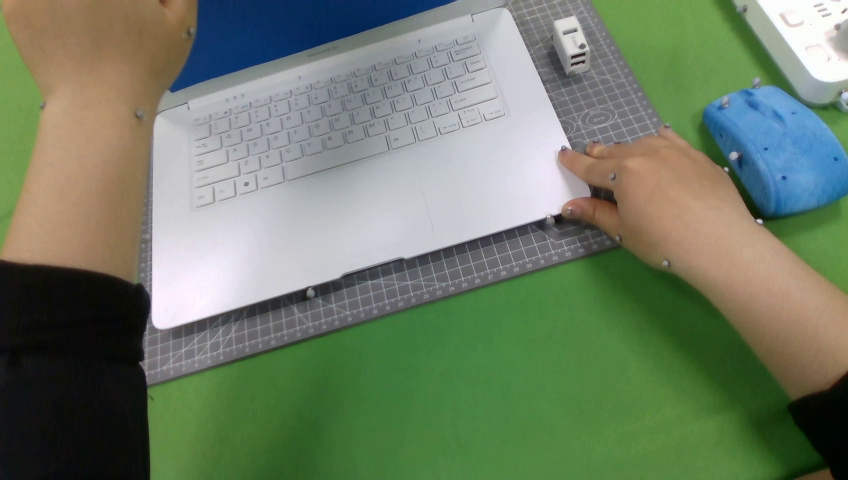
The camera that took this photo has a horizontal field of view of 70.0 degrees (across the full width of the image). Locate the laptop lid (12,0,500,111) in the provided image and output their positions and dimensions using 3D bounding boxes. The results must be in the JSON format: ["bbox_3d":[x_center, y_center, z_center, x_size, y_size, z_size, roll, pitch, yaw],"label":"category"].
[{"bbox_3d":[-0.108,-0.202,0.467,0.357,0.243,0.013,-17,75,4],"label":"laptop lid"}]

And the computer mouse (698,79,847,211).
[{"bbox_3d":[0.254,-0.076,0.445,0.063,0.041,0.116,-17,54,4],"label":"computer mouse"}]

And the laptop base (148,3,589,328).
[{"bbox_3d":[-0.066,-0.075,0.522,0.354,0.023,0.233,-17,62,2],"label":"laptop base"}]

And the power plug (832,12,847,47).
[{"bbox_3d":[0.347,-0.161,0.452,0.072,0.053,0.035,-6,62,8],"label":"power plug"}]

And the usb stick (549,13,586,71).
[{"bbox_3d":[0.125,-0.180,0.536,0.021,0.027,0.058,-14,56,5],"label":"usb stick"}]

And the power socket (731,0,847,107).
[{"bbox_3d":[0.309,-0.205,0.510,0.072,0.033,0.224,-15,59,5],"label":"power socket"}]
